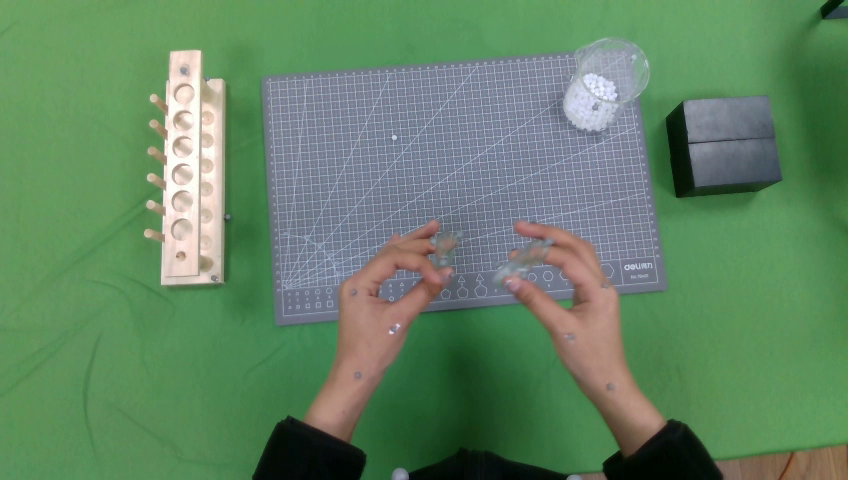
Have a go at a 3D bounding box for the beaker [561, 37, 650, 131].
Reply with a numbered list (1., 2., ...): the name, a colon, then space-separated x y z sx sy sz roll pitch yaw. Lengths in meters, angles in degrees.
1. beaker: 0.196 -0.171 0.682 0.084 0.100 0.074 32 81 6

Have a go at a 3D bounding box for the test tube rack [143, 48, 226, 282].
1. test tube rack: -0.267 -0.079 0.668 0.067 0.085 0.241 -2 81 -1

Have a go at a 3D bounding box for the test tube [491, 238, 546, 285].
1. test tube: 0.073 0.020 0.489 0.017 0.151 0.017 1 78 -3

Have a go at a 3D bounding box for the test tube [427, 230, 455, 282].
1. test tube: 0.013 0.017 0.514 0.017 0.151 0.017 0 77 -2
